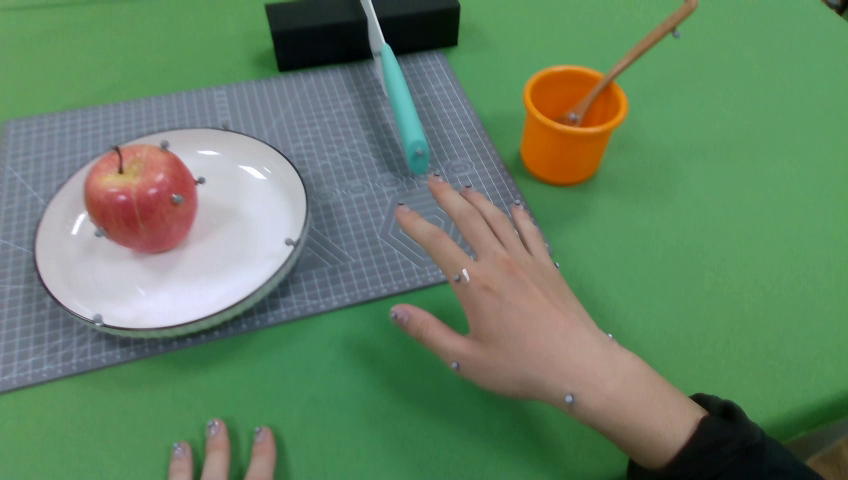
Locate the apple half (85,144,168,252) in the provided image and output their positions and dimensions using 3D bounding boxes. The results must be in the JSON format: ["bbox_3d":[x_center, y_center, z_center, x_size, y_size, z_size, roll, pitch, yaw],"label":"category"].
[{"bbox_3d":[-0.232,-0.031,0.475,0.053,0.075,0.080,-5,56,-1],"label":"apple half"}]

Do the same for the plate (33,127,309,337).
[{"bbox_3d":[-0.197,-0.009,0.493,0.209,0.038,0.207,2,52,-2],"label":"plate"}]

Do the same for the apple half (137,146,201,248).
[{"bbox_3d":[-0.193,-0.034,0.478,0.033,0.082,0.080,-6,53,-1],"label":"apple half"}]

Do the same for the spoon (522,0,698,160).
[{"bbox_3d":[0.165,-0.143,0.547,0.022,0.194,0.041,21,33,-46],"label":"spoon"}]

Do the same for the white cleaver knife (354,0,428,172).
[{"bbox_3d":[-0.041,-0.186,0.617,0.021,0.066,0.284,-12,64,-10],"label":"white cleaver knife"}]
